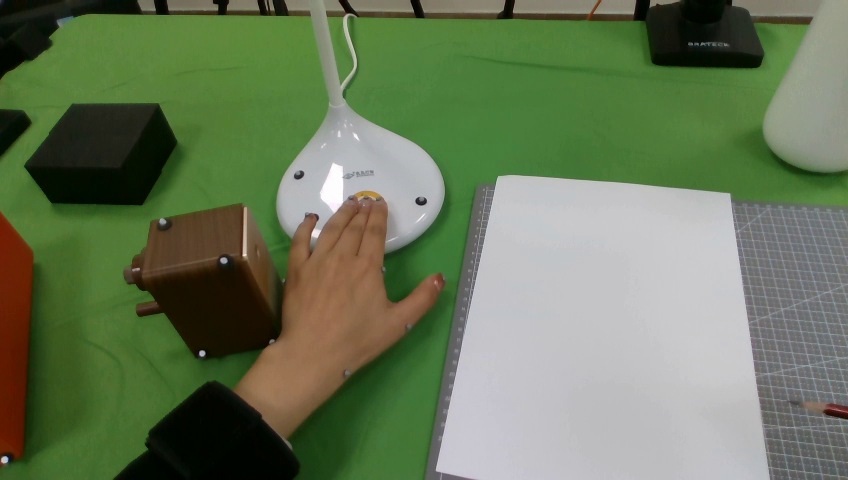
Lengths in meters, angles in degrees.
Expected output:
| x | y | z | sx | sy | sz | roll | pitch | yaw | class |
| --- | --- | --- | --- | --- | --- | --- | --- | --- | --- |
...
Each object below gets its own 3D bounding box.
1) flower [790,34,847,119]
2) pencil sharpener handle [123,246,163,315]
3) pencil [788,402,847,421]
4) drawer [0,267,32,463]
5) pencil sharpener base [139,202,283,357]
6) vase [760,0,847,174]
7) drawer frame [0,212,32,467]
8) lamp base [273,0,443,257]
| x | y | z | sx | sy | sz | roll | pitch | yaw | class |
| --- | --- | --- | --- | --- | --- | --- | --- | --- | --- |
| 0.348 | -0.194 | 0.443 | 0.038 | 0.364 | 0.043 | -38 | 68 | -9 | flower |
| -0.209 | 0.034 | 0.447 | 0.031 | 0.068 | 0.035 | -11 | 52 | -4 | pencil sharpener handle |
| 0.278 | 0.098 | 0.281 | 0.192 | 0.012 | 0.012 | 3 | 42 | 46 | pencil |
| -0.411 | 0.094 | 0.447 | 0.195 | 0.074 | 0.209 | -19 | 48 | -11 | drawer |
| -0.157 | 0.033 | 0.459 | 0.077 | 0.108 | 0.060 | -11 | 49 | -4 | pencil sharpener base |
| 0.364 | -0.154 | 0.516 | 0.098 | 0.202 | 0.097 | -3 | 47 | 4 | vase |
| -0.414 | 0.091 | 0.447 | 0.202 | 0.083 | 0.211 | -20 | 49 | -11 | drawer frame |
| -0.072 | -0.105 | 0.526 | 0.161 | 0.182 | 0.177 | -19 | 47 | -11 | lamp base |
